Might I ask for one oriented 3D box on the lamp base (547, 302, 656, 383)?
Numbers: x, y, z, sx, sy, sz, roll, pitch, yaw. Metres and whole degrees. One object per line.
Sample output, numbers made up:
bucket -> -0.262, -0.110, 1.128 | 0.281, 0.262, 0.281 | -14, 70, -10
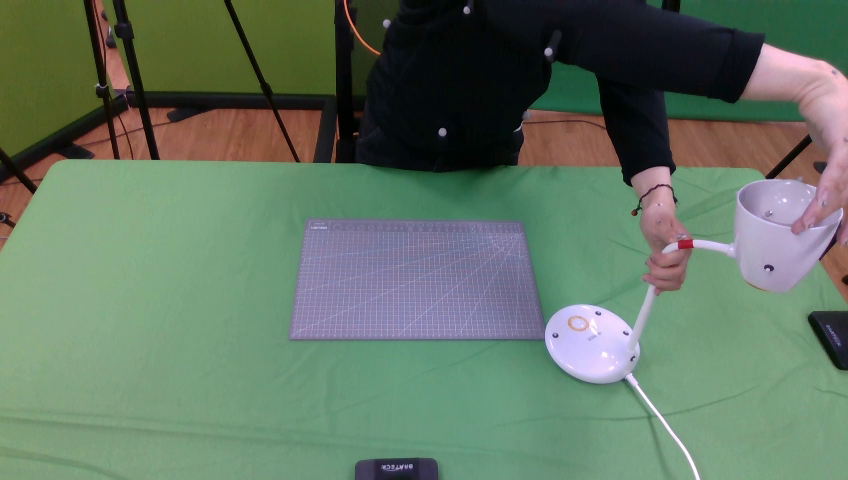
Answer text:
lamp base -> 0.304, 0.127, 0.982 | 0.160, 0.181, 0.178 | -33, 59, -29

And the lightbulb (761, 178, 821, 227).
lightbulb -> 0.427, -0.022, 0.715 | 0.059, 0.108, 0.059 | -4, 30, 3

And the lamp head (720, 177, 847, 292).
lamp head -> 0.422, 0.000, 0.727 | 0.112, 0.123, 0.112 | -1, 38, 1
